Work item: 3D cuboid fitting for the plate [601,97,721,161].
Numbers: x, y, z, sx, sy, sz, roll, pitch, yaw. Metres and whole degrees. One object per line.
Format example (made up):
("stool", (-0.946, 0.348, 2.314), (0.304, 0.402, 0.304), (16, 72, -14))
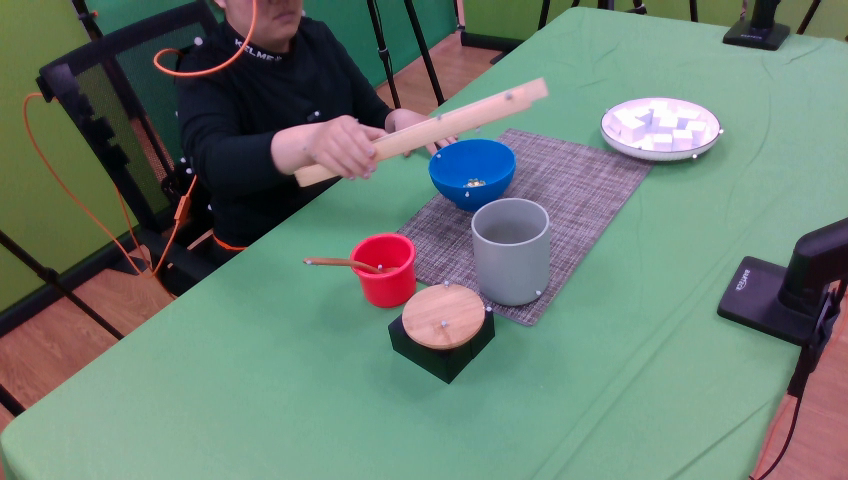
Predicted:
("plate", (0.436, -0.203, 1.126), (0.209, 0.038, 0.208), (-5, 39, 5))

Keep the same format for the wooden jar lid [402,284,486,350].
("wooden jar lid", (0.026, 0.101, 0.786), (0.108, 0.021, 0.108), (-5, 39, 4))

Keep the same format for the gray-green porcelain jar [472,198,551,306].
("gray-green porcelain jar", (0.125, 0.021, 0.850), (0.106, 0.127, 0.105), (-6, 40, 5))

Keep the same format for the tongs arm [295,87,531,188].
("tongs arm", (-0.032, -0.132, 0.815), (0.383, 0.026, 0.051), (-15, 18, 28))

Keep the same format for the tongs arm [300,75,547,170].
("tongs arm", (-0.013, -0.153, 0.860), (0.386, 0.028, 0.028), (-17, 21, 23))

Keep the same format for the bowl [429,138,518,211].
("bowl", (0.087, -0.104, 1.043), (0.151, 0.077, 0.150), (-5, 40, 5))

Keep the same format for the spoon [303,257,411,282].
("spoon", (-0.092, 0.038, 0.865), (0.195, 0.021, 0.041), (16, 15, -46))
